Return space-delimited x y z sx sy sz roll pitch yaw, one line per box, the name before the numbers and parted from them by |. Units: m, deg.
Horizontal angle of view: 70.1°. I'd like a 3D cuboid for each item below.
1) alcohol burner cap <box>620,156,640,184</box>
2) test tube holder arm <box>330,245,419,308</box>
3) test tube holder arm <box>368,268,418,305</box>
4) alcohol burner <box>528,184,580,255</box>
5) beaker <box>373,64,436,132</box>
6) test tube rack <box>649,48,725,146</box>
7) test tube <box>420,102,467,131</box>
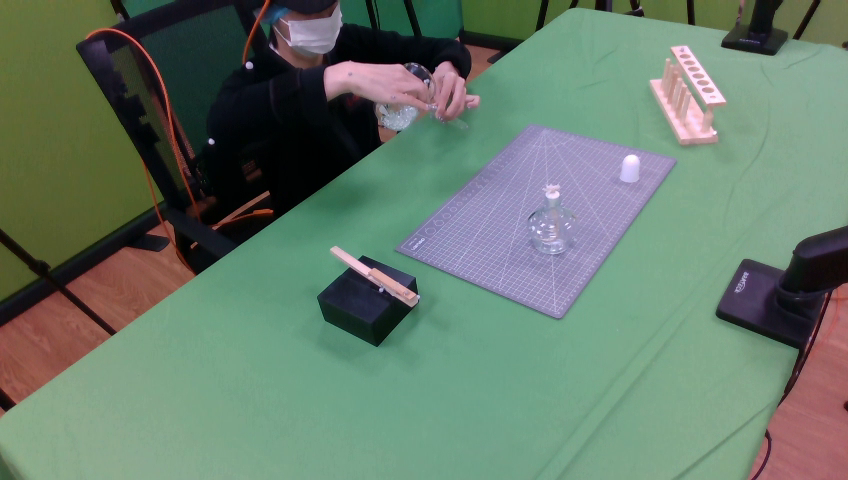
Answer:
alcohol burner cap | 0.358 -0.124 1.047 0.034 0.048 0.033 -4 40 4
test tube holder arm | -0.074 0.049 0.857 0.177 0.013 0.015 30 53 36
test tube holder arm | -0.043 0.063 0.827 0.015 0.010 0.087 -37 47 -29
alcohol burner | 0.196 -0.036 0.911 0.078 0.119 0.077 -6 41 5
beaker | -0.033 -0.231 1.003 0.073 0.084 0.100 4 44 33
test tube rack | 0.508 -0.285 1.186 0.067 0.085 0.241 -4 40 6
test tube | 0.039 -0.226 1.115 0.017 0.017 0.151 23 7 32
